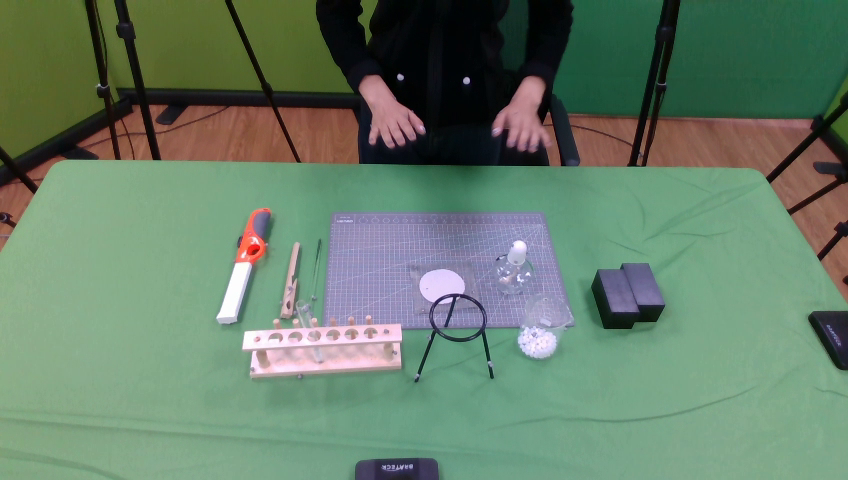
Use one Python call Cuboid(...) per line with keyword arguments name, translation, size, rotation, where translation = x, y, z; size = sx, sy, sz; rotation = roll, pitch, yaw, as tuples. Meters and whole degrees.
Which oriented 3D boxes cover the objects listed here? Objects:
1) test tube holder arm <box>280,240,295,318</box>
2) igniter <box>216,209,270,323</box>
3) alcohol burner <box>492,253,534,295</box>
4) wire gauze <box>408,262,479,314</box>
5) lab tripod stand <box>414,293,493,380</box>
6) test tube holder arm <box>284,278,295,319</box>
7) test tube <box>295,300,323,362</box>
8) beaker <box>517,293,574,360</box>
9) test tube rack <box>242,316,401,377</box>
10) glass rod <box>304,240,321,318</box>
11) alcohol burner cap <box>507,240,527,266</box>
Cuboid(name="test tube holder arm", translation=(-0.250, 0.068, 1.113), size=(0.013, 0.015, 0.177), rotation=(27, 38, -32))
Cuboid(name="igniter", translation=(-0.335, 0.039, 1.132), size=(0.057, 0.025, 0.275), rotation=(-3, 46, 6))
Cuboid(name="alcohol burner", translation=(0.165, 0.045, 1.103), size=(0.078, 0.119, 0.077), rotation=(3, 47, -3))
Cuboid(name="wire gauze", translation=(0.036, 0.085, 1.127), size=(0.121, 0.011, 0.124), rotation=(-3, 43, -6))
Cuboid(name="lab tripod stand", translation=(0.052, 0.159, 0.972), size=(0.148, 0.132, 0.147), rotation=(4, 46, -4))
Cuboid(name="test tube holder arm", translation=(-0.242, 0.103, 1.085), size=(0.010, 0.015, 0.087), rotation=(28, 37, -30))
Cuboid(name="test tube", translation=(-0.176, 0.143, 0.935), size=(0.017, 0.151, 0.017), rotation=(-2, 46, 2))
Cuboid(name="beaker", translation=(0.200, 0.149, 1.018), size=(0.084, 0.101, 0.073), rotation=(14, 47, 8))
Cuboid(name="test tube rack", translation=(-0.161, 0.166, 0.983), size=(0.242, 0.085, 0.066), rotation=(-2, 46, -6))
Cuboid(name="glass rod", translation=(-0.207, 0.068, 1.128), size=(0.008, 0.008, 0.198), rotation=(2, 43, -2))
Cuboid(name="alcohol burner cap", translation=(0.167, 0.021, 1.075), size=(0.034, 0.048, 0.033), rotation=(0, 55, 0))
